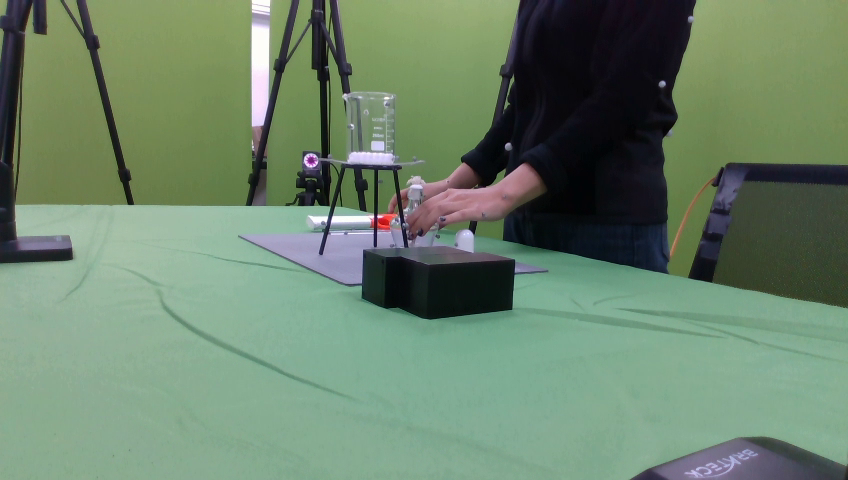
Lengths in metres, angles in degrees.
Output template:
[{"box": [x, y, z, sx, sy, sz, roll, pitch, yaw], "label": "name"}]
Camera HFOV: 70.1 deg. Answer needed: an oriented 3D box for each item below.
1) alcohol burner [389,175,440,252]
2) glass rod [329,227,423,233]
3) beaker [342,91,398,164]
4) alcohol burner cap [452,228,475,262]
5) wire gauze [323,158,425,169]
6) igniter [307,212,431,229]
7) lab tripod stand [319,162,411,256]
[{"box": [-0.014, -0.041, 0.932, 0.078, 0.119, 0.078, 2, 9, 0], "label": "alcohol burner"}, {"box": [-0.087, -0.019, 1.148, 0.201, 0.008, 0.008, -3, 8, -32], "label": "glass rod"}, {"box": [-0.079, -0.160, 0.867, 0.084, 0.100, 0.073, -5, 10, -34], "label": "beaker"}, {"box": [0.058, 0.006, 0.872, 0.034, 0.048, 0.034, 3, 7, 0], "label": "alcohol burner cap"}, {"box": [-0.080, -0.112, 0.869, 0.122, 0.011, 0.124, -6, 12, -35], "label": "wire gauze"}, {"box": [-0.103, -0.039, 1.223, 0.278, 0.025, 0.057, -2, 34, -37], "label": "igniter"}, {"box": [-0.081, -0.047, 0.879, 0.148, 0.131, 0.148, 2, 9, 0], "label": "lab tripod stand"}]
